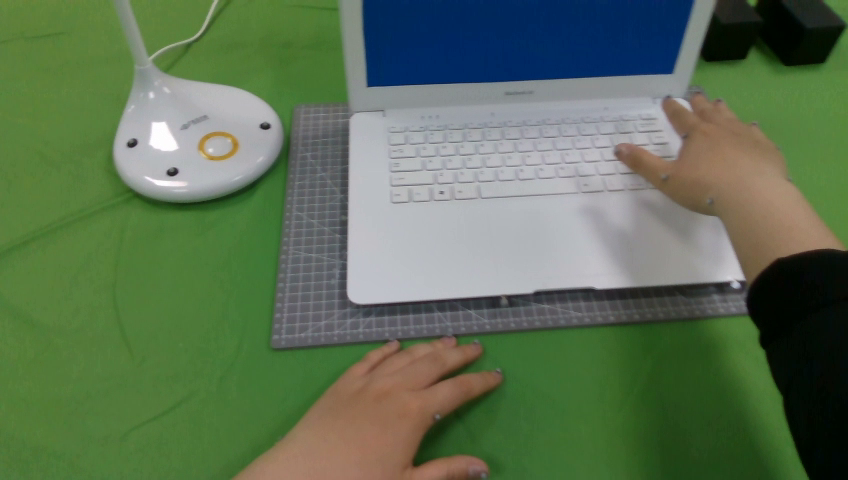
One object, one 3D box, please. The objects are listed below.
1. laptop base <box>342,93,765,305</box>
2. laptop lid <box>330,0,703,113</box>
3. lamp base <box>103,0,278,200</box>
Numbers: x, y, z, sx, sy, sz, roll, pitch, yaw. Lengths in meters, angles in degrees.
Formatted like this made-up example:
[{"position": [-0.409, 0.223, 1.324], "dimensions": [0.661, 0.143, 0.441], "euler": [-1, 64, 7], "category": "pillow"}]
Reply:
[{"position": [0.102, -0.048, 0.566], "dimensions": [0.355, 0.023, 0.233], "euler": [-4, 54, -3], "category": "laptop base"}, {"position": [0.090, -0.227, 0.558], "dimensions": [0.357, 0.244, 0.013], "euler": [-5, 43, -3], "category": "laptop lid"}, {"position": [-0.237, -0.153, 0.545], "dimensions": [0.178, 0.182, 0.160], "euler": [26, 55, 23], "category": "lamp base"}]
